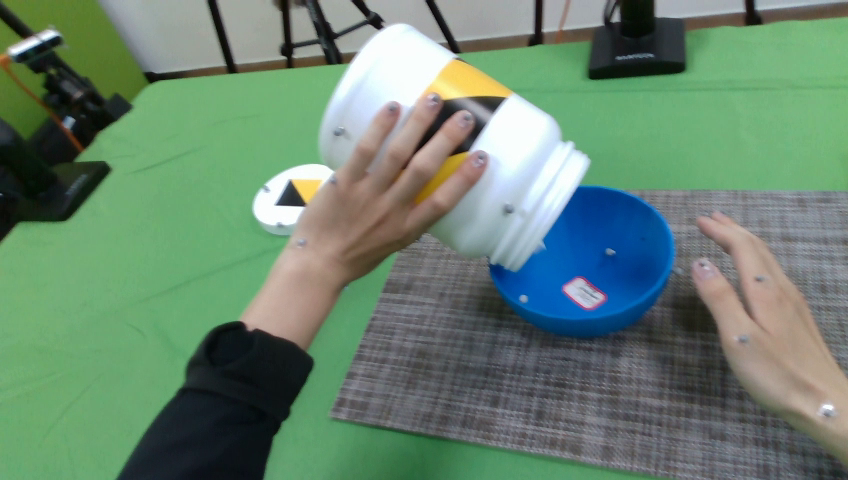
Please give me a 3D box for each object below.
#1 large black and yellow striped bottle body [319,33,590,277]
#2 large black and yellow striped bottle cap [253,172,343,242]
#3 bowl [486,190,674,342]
[{"bbox_3d":[0.025,-0.063,0.486,0.184,0.131,0.130,33,59,4],"label":"large black and yellow striped bottle body"},{"bbox_3d":[-0.159,-0.044,0.764,0.115,0.019,0.114,-9,44,9],"label":"large black and yellow striped bottle cap"},{"bbox_3d":[0.135,0.035,0.524,0.151,0.077,0.150,-10,44,11],"label":"bowl"}]
